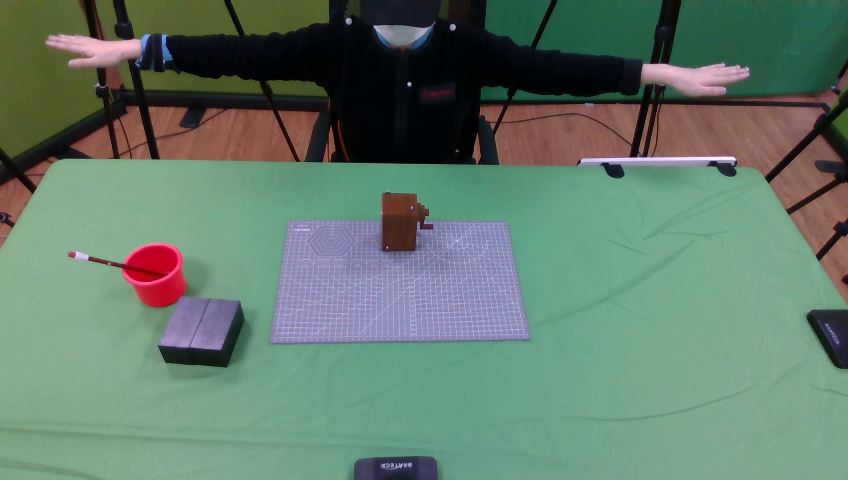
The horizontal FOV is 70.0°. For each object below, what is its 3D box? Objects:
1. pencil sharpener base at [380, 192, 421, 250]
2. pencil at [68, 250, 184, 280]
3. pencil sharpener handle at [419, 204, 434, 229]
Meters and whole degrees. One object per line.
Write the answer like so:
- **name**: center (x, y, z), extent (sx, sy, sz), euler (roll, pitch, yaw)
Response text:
- **pencil sharpener base**: center (-0.046, -0.035, 1.163), extent (0.077, 0.107, 0.061), euler (0, 46, -4)
- **pencil**: center (-0.498, 0.046, 1.026), extent (0.195, 0.012, 0.012), euler (21, 29, -45)
- **pencil sharpener handle**: center (0.006, -0.045, 1.160), extent (0.031, 0.068, 0.036), euler (0, 52, -4)
